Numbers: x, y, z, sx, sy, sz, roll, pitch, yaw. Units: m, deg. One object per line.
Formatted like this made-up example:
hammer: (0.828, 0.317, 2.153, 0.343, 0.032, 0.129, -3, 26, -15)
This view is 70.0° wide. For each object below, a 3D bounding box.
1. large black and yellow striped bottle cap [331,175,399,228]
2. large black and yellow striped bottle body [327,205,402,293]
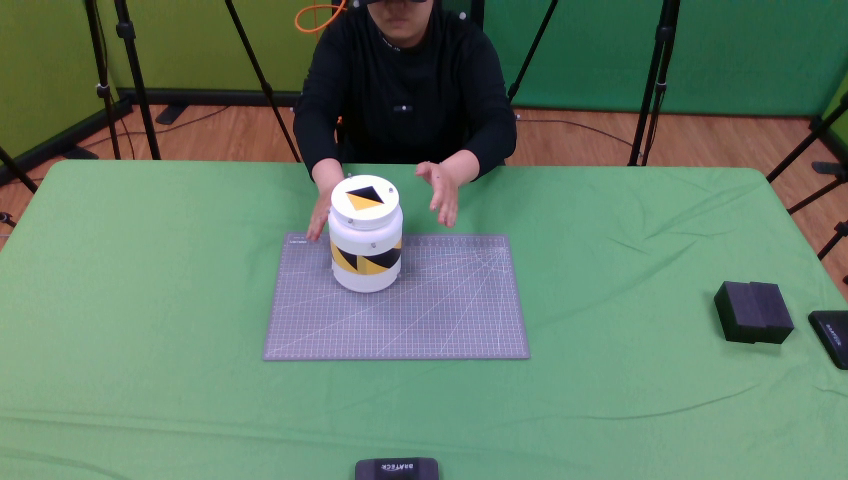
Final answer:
large black and yellow striped bottle cap: (-0.099, -0.067, 1.022, 0.115, 0.019, 0.114, 2, 47, -2)
large black and yellow striped bottle body: (-0.105, -0.009, 1.083, 0.131, 0.185, 0.130, 2, 46, -2)
